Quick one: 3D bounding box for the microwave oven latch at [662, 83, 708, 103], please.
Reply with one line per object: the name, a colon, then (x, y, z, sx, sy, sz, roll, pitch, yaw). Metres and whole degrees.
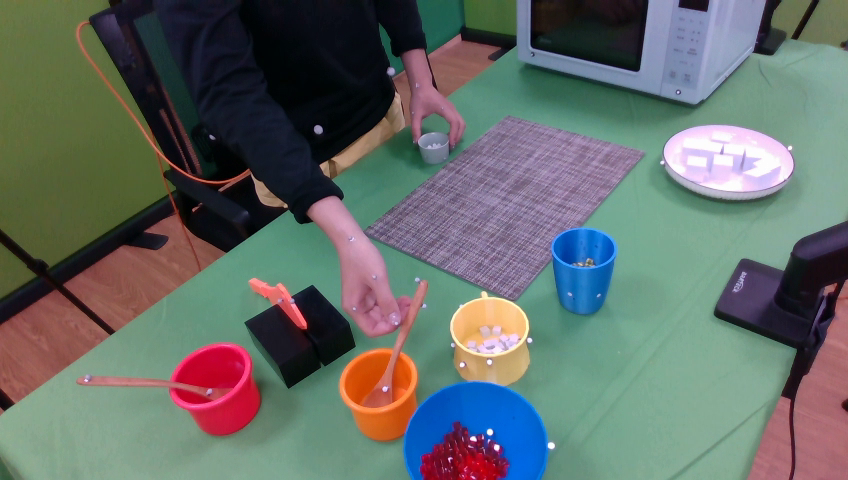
microwave oven latch: (0.518, -0.297, 1.205, 0.078, 0.029, 0.030, 29, 53, 36)

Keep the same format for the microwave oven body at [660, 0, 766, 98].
microwave oven body: (0.473, -0.513, 1.317, 0.438, 0.261, 0.327, 26, 51, 34)

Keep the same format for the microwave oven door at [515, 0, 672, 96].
microwave oven door: (0.343, -0.454, 1.259, 0.353, 0.245, 0.039, 26, 51, 33)

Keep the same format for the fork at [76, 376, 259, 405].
fork: (-0.295, 0.176, 0.716, 0.209, 0.018, 0.028, 19, 27, -36)

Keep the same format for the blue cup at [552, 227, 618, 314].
blue cup: (0.218, 0.047, 0.825, 0.092, 0.101, 0.092, -6, 40, 5)

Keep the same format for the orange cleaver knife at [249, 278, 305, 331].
orange cleaver knife: (-0.210, 0.088, 0.855, 0.012, 0.077, 0.210, -28, 15, -25)

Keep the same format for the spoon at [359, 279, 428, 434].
spoon: (-0.032, 0.138, 0.719, 0.041, 0.193, 0.022, 22, 4, 29)

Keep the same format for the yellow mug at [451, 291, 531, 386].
yellow mug: (0.085, 0.120, 0.786, 0.100, 0.064, 0.130, -7, 39, 1)

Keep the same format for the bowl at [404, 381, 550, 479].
bowl: (0.058, 0.235, 0.645, 0.151, 0.077, 0.150, -4, 39, 4)

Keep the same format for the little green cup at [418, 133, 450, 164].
little green cup: (0.020, -0.177, 1.169, 0.061, 0.039, 0.061, -2, 39, 2)

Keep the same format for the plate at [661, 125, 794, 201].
plate: (0.513, -0.128, 1.035, 0.207, 0.039, 0.206, -4, 40, 4)
